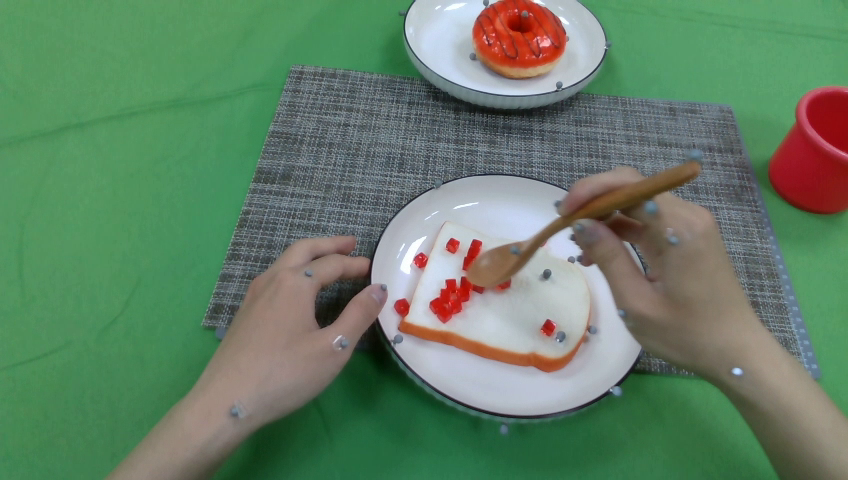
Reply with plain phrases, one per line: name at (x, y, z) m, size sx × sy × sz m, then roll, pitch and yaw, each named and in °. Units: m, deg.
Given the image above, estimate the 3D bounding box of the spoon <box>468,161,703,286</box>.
spoon at (0.084, -0.006, 0.367) m, size 0.022 × 0.194 × 0.041 m, roll 42°, pitch 58°, yaw -7°

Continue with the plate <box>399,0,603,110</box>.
plate at (0.078, -0.202, 0.628) m, size 0.208 × 0.039 × 0.205 m, roll 2°, pitch 53°, yaw -3°

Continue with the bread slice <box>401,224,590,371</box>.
bread slice at (0.059, 0.042, 0.457) m, size 0.131 × 0.019 × 0.104 m, roll 14°, pitch 55°, yaw 10°

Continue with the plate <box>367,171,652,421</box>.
plate at (0.062, 0.037, 0.456) m, size 0.209 × 0.038 × 0.207 m, roll 2°, pitch 55°, yaw -2°

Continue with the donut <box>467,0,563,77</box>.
donut at (0.093, -0.206, 0.618) m, size 0.099 × 0.048 × 0.098 m, roll 2°, pitch 56°, yaw -3°
